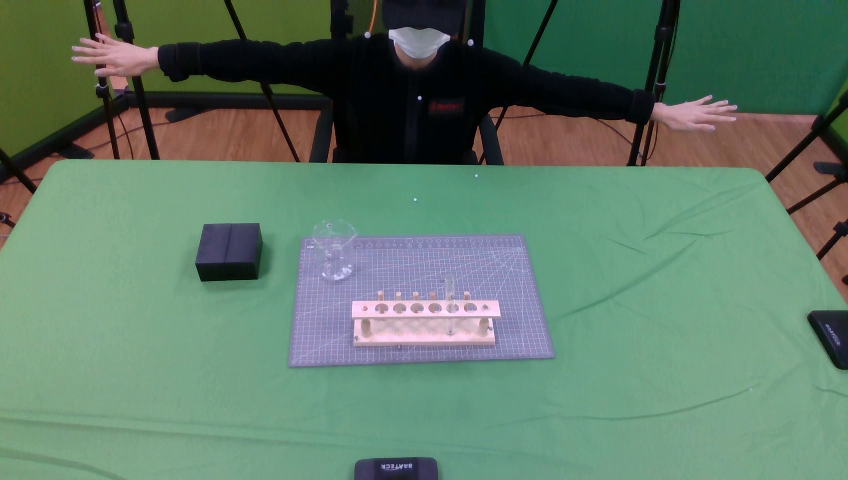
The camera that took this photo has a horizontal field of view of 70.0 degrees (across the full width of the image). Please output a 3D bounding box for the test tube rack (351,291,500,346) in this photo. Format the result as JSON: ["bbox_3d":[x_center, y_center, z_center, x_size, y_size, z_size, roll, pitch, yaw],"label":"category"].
[{"bbox_3d":[0.001,0.129,1.026,0.242,0.085,0.066,0,46,-4],"label":"test tube rack"}]

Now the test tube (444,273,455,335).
[{"bbox_3d":[0.042,0.107,0.981,0.017,0.151,0.017,-1,47,2],"label":"test tube"}]

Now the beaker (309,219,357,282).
[{"bbox_3d":[-0.164,0.021,1.107,0.084,0.101,0.073,-5,47,-11],"label":"beaker"}]
